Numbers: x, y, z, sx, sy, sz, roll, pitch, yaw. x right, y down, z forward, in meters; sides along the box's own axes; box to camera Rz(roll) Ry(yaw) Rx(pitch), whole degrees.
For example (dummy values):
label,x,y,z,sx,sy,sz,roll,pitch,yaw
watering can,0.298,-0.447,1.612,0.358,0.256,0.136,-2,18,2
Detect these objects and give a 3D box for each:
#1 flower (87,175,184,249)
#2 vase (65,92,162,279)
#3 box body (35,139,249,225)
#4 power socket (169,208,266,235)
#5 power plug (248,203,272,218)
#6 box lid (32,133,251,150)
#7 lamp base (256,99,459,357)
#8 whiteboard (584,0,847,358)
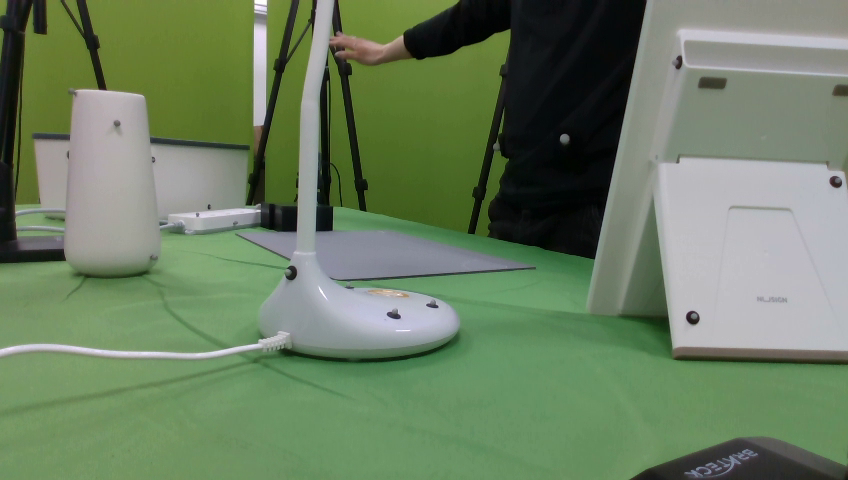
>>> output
label,x,y,z,sx,sy,sz,roll,pitch,yaw
flower,-0.610,-0.063,1.291,0.044,0.038,0.361,-5,25,9
vase,-0.347,-0.060,0.673,0.098,0.200,0.098,1,7,0
box body,-0.561,-0.127,1.258,0.254,0.160,0.365,4,8,13
power socket,-0.379,-0.038,1.130,0.072,0.032,0.227,4,8,19
power plug,-0.361,-0.049,1.289,0.052,0.035,0.072,11,49,29
box lid,-0.558,-0.200,1.250,0.263,0.015,0.372,5,8,13
lamp base,-0.055,-0.013,0.463,0.160,0.180,0.180,6,11,27
whiteboard,0.269,-0.034,0.466,0.217,0.305,0.143,2,27,-1
